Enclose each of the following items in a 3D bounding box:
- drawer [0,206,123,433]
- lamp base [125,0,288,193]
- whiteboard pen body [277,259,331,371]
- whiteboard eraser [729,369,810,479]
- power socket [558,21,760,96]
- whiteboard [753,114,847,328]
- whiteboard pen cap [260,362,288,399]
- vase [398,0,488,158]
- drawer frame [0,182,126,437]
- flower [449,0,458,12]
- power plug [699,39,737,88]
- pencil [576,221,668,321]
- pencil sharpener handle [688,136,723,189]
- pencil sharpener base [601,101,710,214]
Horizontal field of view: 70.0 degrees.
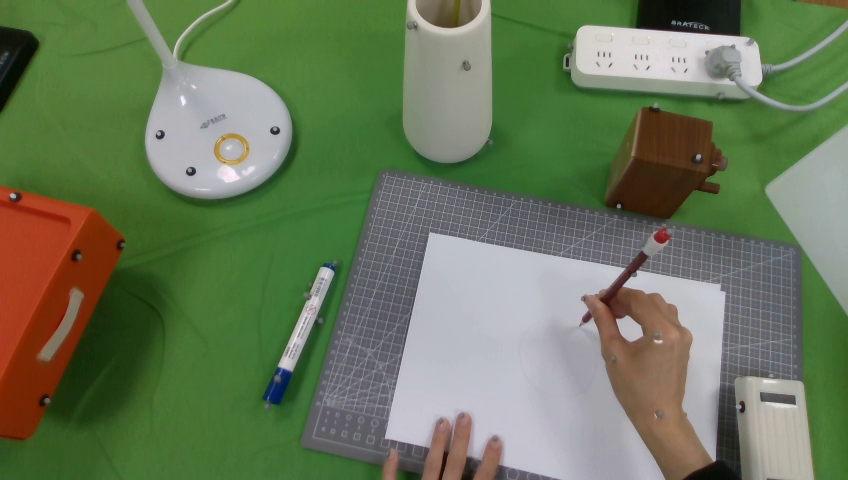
[{"bbox_3d":[-0.411,0.044,0.532,0.211,0.074,0.193,14,70,6],"label":"drawer"},{"bbox_3d":[-0.242,-0.161,0.607,0.160,0.181,0.178,-41,70,-15],"label":"lamp base"},{"bbox_3d":[-0.121,0.081,0.593,0.017,0.017,0.140,15,65,7],"label":"whiteboard pen body"},{"bbox_3d":[0.305,0.173,0.538,0.055,0.042,0.112,6,68,2],"label":"whiteboard eraser"},{"bbox_3d":[0.272,-0.210,0.701,0.227,0.033,0.071,6,69,2],"label":"power socket"},{"bbox_3d":[0.501,-0.054,0.522,0.144,0.307,0.215,-12,66,-24],"label":"whiteboard"},{"bbox_3d":[-0.140,0.131,0.568,0.018,0.018,0.033,16,63,8],"label":"whiteboard pen cap"},{"bbox_3d":[0.018,-0.164,0.596,0.098,0.201,0.097,-1,67,2],"label":"vase"},{"bbox_3d":[-0.417,0.045,0.534,0.213,0.083,0.200,14,70,4],"label":"drawer frame"},{"bbox_3d":[0.027,-0.211,0.526,0.038,0.364,0.043,-1,49,-7],"label":"flower"},{"bbox_3d":[0.319,-0.188,0.666,0.035,0.053,0.072,15,70,7],"label":"power plug"},{"bbox_3d":[0.159,0.035,0.511,0.012,0.195,0.012,2,62,-4],"label":"pencil"},{"bbox_3d":[0.280,-0.072,0.592,0.030,0.068,0.036,13,67,6],"label":"pencil sharpener handle"},{"bbox_3d":[0.231,-0.079,0.608,0.076,0.108,0.061,13,68,6],"label":"pencil sharpener base"}]
